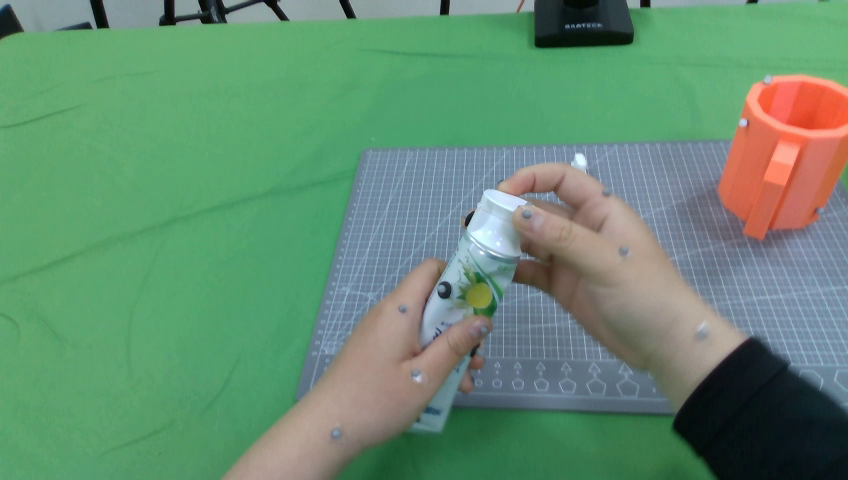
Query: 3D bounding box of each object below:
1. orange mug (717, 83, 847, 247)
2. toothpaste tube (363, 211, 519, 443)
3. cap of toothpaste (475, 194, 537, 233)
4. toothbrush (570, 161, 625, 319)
[{"bbox_3d":[0.292,-0.056,0.493,0.083,0.102,0.126,22,47,27],"label":"orange mug"},{"bbox_3d":[0.015,0.055,0.365,0.055,0.165,0.034,18,19,-14],"label":"toothpaste tube"},{"bbox_3d":[0.046,-0.014,0.340,0.037,0.011,0.037,19,17,-6],"label":"cap of toothpaste"},{"bbox_3d":[0.149,-0.007,0.521,0.014,0.017,0.180,4,46,-5],"label":"toothbrush"}]
